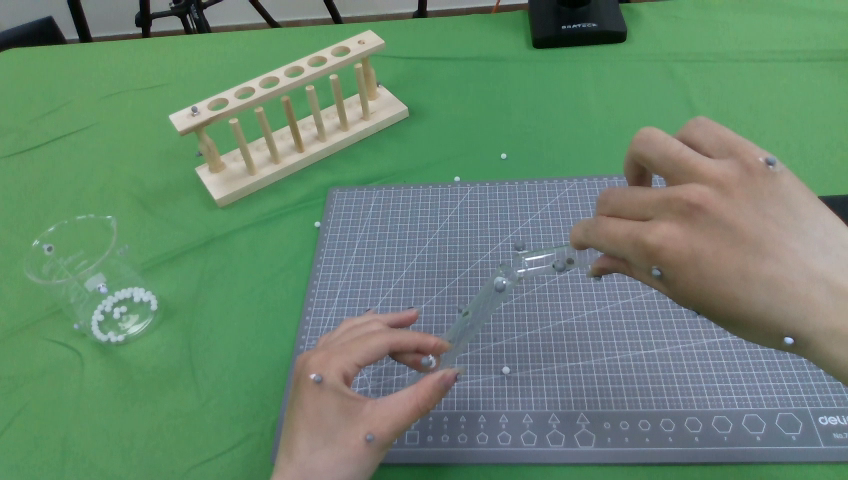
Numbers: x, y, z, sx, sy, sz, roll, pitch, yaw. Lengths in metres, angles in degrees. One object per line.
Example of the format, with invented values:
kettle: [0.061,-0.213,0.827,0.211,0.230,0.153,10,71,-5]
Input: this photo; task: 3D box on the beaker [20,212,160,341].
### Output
beaker: [-0.283,0.034,0.530,0.073,0.101,0.083,20,54,22]

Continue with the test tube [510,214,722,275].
test tube: [0.122,0.002,0.372,0.151,0.017,0.017,-10,47,-19]

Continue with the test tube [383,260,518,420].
test tube: [0.013,0.070,0.393,0.017,0.151,0.017,26,29,-16]

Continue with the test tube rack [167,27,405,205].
test tube rack: [-0.144,-0.141,0.672,0.242,0.086,0.066,-30,52,-18]
